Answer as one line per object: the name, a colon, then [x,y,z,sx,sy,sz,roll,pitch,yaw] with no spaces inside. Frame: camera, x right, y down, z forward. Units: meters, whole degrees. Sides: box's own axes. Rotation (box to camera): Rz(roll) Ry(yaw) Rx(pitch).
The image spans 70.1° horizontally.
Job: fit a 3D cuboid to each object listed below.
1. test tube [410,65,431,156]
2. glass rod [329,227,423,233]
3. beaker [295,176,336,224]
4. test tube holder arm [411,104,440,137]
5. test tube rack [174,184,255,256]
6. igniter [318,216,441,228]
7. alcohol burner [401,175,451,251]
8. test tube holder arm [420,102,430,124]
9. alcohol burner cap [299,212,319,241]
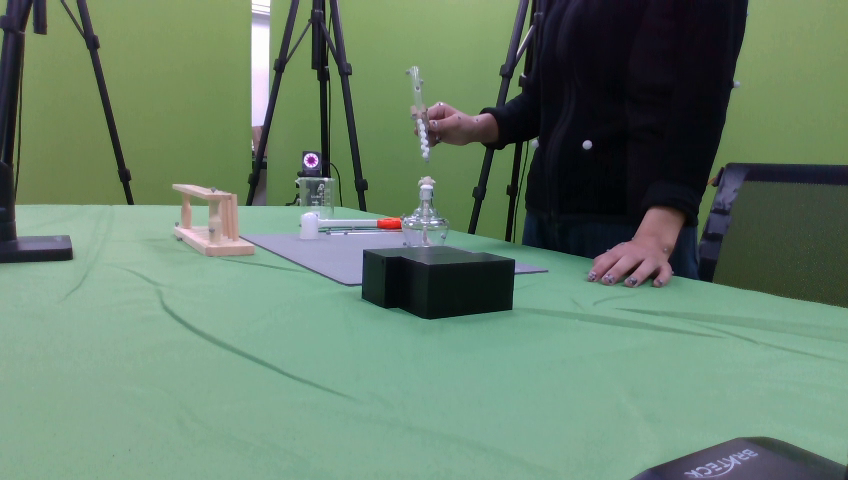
test tube: [-0.006,-0.203,0.948,0.017,0.150,0.017,-8,-10,-1]
glass rod: [-0.087,-0.019,1.148,0.201,0.008,0.008,-3,8,-32]
beaker: [-0.224,-0.080,1.247,0.084,0.100,0.073,-1,8,-18]
test tube holder arm: [0.004,-0.198,1.016,0.013,0.015,0.179,-6,-4,12]
test tube rack: [-0.327,-0.036,0.928,0.067,0.085,0.241,-2,9,-32]
igniter: [-0.090,-0.036,1.222,0.278,0.025,0.057,-2,-2,-32]
alcohol burner: [0.003,-0.042,0.947,0.078,0.119,0.078,1,9,0]
test tube holder arm: [0.002,-0.202,0.970,0.010,0.015,0.088,-6,-4,4]
alcohol burner cap: [-0.195,-0.024,1.025,0.034,0.048,0.034,3,7,0]
